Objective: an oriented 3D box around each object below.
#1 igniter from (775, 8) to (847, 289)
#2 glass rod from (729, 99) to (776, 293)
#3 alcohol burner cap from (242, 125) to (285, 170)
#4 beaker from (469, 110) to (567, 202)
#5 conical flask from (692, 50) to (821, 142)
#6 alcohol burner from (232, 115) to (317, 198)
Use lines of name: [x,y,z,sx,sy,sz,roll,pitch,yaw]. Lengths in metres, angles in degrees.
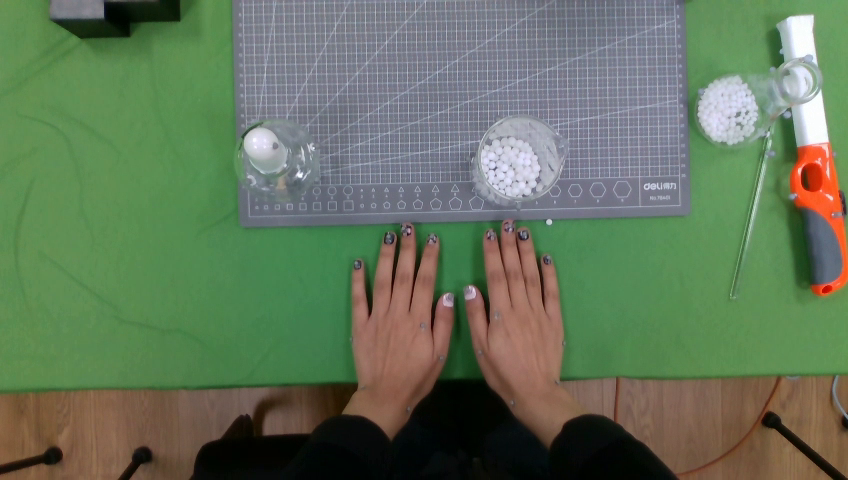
igniter: [0.384,-0.090,0.601,0.057,0.025,0.276,-9,91,-12]
glass rod: [0.330,-0.044,0.610,0.008,0.008,0.199,12,90,-1]
alcohol burner cap: [-0.136,-0.080,0.510,0.034,0.048,0.033,1,82,-7]
beaker: [0.082,-0.073,0.558,0.084,0.100,0.074,-21,90,-1]
conical flask: [0.305,-0.135,0.552,0.075,0.122,0.075,0,90,0]
alcohol burner: [-0.137,-0.078,0.546,0.078,0.119,0.078,0,88,-2]
